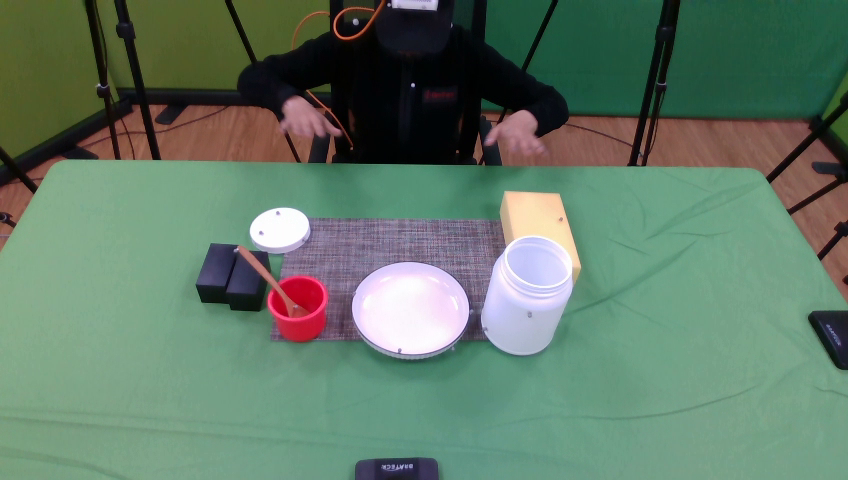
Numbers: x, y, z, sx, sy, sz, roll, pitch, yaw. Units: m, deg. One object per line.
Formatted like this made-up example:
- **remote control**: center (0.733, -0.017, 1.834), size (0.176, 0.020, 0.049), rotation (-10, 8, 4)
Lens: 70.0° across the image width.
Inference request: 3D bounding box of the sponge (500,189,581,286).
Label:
- **sponge**: center (0.224, -0.007, 1.192), size (0.118, 0.061, 0.205), rotation (1, 47, -6)

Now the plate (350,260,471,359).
- **plate**: center (-0.024, 0.124, 1.061), size (0.209, 0.038, 0.208), rotation (2, 46, -2)

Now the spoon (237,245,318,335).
- **spoon**: center (-0.244, 0.082, 1.010), size (0.041, 0.021, 0.194), rotation (-46, 108, -36)

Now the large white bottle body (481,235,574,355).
- **large white bottle body**: center (0.171, 0.091, 1.006), size (0.131, 0.185, 0.130), rotation (3, 48, -3)

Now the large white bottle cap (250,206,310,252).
- **large white bottle cap**: center (-0.284, -0.022, 1.197), size (0.115, 0.018, 0.114), rotation (1, 46, -1)
